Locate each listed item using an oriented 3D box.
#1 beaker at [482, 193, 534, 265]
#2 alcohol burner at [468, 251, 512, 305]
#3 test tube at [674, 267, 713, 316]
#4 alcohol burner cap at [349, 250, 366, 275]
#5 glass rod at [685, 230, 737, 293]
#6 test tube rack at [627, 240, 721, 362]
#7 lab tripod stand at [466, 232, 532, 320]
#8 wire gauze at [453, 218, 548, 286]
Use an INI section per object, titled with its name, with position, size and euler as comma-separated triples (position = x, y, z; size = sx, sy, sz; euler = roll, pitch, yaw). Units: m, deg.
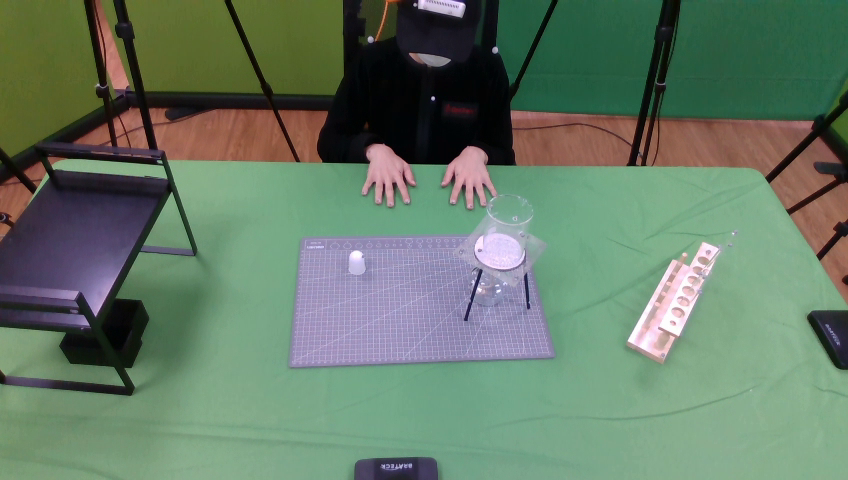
[beaker]
position = 0.135, -0.016, 0.979
size = 0.073, 0.101, 0.084
euler = 35, 52, 28
[alcohol burner]
position = 0.119, 0.061, 1.077
size = 0.078, 0.120, 0.077
euler = 1, 47, -1
[test tube]
position = 0.445, 0.098, 1.017
size = 0.017, 0.151, 0.017
euler = 4, 48, -4
[alcohol burner cap]
position = -0.125, 0.039, 1.132
size = 0.034, 0.048, 0.033
euler = 2, 46, -2
[glass rod]
position = 0.495, 0.042, 1.051
size = 0.008, 0.200, 0.008
euler = 2, 55, -2
[test tube rack]
position = 0.452, 0.098, 1.087
size = 0.066, 0.085, 0.242
euler = 28, 51, 22
[lab tripod stand]
position = 0.125, 0.059, 1.065
size = 0.148, 0.132, 0.147
euler = 1, 45, 0
[wire gauze]
position = 0.129, 0.014, 1.019
size = 0.124, 0.011, 0.121
euler = 26, 47, 25
